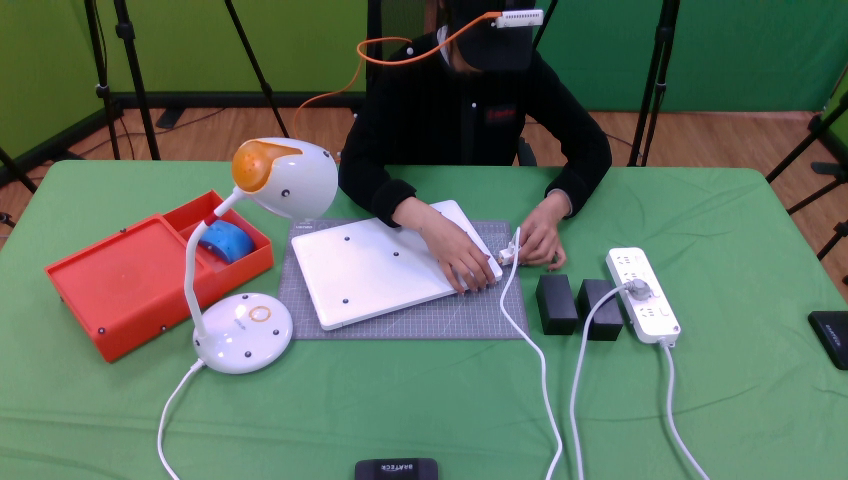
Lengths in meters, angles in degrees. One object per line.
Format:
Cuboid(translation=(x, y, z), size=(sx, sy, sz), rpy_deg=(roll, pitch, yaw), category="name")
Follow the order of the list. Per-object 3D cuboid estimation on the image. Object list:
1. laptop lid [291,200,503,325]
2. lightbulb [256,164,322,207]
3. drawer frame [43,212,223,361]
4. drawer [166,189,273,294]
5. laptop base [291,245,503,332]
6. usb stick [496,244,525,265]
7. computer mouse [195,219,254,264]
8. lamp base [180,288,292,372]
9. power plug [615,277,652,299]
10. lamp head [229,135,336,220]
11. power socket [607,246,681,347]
Cuboid(translation=(-0.055, 0.029, 1.150), size=(0.357, 0.013, 0.240), rpy_deg=(-13, 46, -17), category="laptop lid")
Cuboid(translation=(-0.182, -0.077, 0.810), size=(0.059, 0.059, 0.108), rpy_deg=(37, 12, 28), category="lightbulb")
Cuboid(translation=(-0.497, 0.073, 1.049), size=(0.213, 0.083, 0.200), rpy_deg=(-34, 57, -31), category="drawer frame")
Cuboid(translation=(-0.419, 0.021, 1.108), size=(0.193, 0.073, 0.211), rpy_deg=(37, 55, 27), category="drawer")
Cuboid(translation=(-0.054, 0.039, 1.157), size=(0.355, 0.023, 0.234), rpy_deg=(-15, 46, -17), category="laptop base")
Cuboid(translation=(0.162, 0.030, 1.159), size=(0.059, 0.027, 0.021), rpy_deg=(-20, 53, -14), category="usb stick")
Cuboid(translation=(-0.380, -0.003, 1.152), size=(0.116, 0.041, 0.062), rpy_deg=(28, 53, 28), category="computer mouse")
Cuboid(translation=(-0.309, 0.108, 0.959), size=(0.160, 0.181, 0.179), rpy_deg=(29, 55, 22), category="lamp base")
Cuboid(translation=(0.375, 0.088, 1.096), size=(0.072, 0.053, 0.035), rpy_deg=(6, 46, 2), category="power plug")
Cuboid(translation=(-0.196, -0.085, 0.791), size=(0.112, 0.112, 0.123), rpy_deg=(36, 14, 27), category="lamp head")
Cuboid(translation=(0.403, 0.096, 1.123), size=(0.072, 0.033, 0.225), rpy_deg=(-3, 47, -5), category="power socket")
